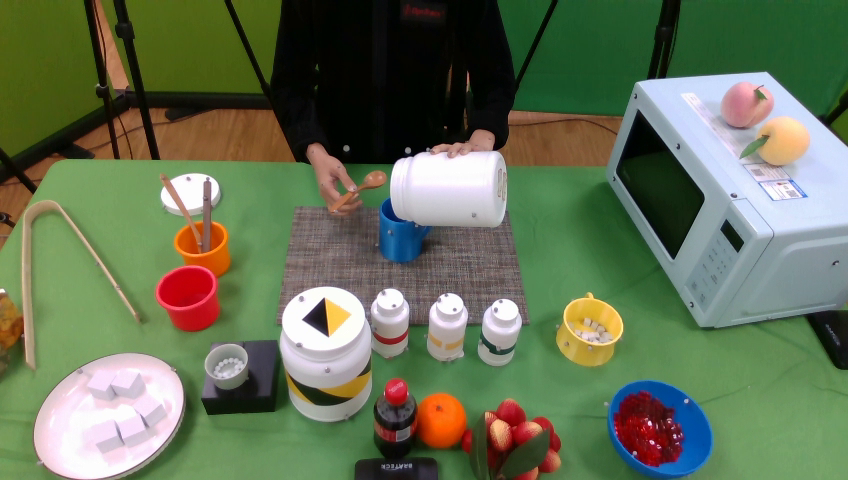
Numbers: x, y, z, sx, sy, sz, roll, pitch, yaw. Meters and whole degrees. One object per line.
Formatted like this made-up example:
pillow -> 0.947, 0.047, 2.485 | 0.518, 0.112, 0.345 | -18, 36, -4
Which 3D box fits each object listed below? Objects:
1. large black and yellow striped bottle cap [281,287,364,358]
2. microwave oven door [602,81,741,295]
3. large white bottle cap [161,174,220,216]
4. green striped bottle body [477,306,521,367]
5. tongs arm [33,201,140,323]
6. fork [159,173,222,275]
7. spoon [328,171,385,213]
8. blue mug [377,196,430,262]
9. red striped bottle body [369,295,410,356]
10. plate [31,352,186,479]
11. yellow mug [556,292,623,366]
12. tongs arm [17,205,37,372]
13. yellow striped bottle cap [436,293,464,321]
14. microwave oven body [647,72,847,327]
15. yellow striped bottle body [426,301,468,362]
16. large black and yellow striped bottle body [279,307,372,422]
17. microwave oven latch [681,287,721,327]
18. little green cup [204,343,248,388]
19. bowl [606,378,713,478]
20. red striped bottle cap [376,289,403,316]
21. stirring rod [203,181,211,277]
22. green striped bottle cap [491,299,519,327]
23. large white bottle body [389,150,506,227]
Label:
large black and yellow striped bottle cap -> -0.141, 0.112, 0.847 | 0.115, 0.019, 0.114 | 5, 45, -4
microwave oven door -> 0.456, -0.107, 1.162 | 0.039, 0.245, 0.353 | -7, 47, -11
large white bottle cap -> -0.483, -0.095, 1.253 | 0.115, 0.018, 0.114 | 2, 46, -2
green striped bottle body -> 0.124, 0.151, 0.995 | 0.063, 0.120, 0.063 | 2, 46, -2
tongs arm -> -0.623, 0.035, 1.105 | 0.051, 0.026, 0.382 | -33, 56, -25
fork -> -0.427, -0.029, 1.103 | 0.028, 0.018, 0.207 | -31, 99, -31
spoon -> -0.126, -0.091, 1.118 | 0.041, 0.022, 0.193 | 23, 29, 15
blue mug -> -0.033, -0.028, 1.159 | 0.116, 0.106, 0.082 | -22, 52, -23
red striped bottle body -> -0.059, 0.135, 0.997 | 0.063, 0.120, 0.062 | 6, 49, -6
plate -> -0.459, 0.262, 0.898 | 0.209, 0.038, 0.208 | 2, 45, -2
yellow mug -> 0.285, 0.145, 1.051 | 0.100, 0.064, 0.130 | 8, 45, 3
tongs arm -> -0.698, 0.072, 1.069 | 0.028, 0.028, 0.385 | -21, 51, -13
yellow striped bottle cap -> 0.041, 0.106, 0.959 | 0.044, 0.019, 0.044 | -1, 50, 1
microwave oven body -> 0.607, -0.089, 1.164 | 0.326, 0.261, 0.438 | -7, 46, -10
yellow striped bottle body -> 0.037, 0.142, 0.996 | 0.063, 0.121, 0.062 | 3, 46, -2
large black and yellow striped bottle body -> -0.145, 0.173, 0.907 | 0.131, 0.185, 0.130 | 2, 46, -2
microwave oven latch -> 0.494, 0.119, 1.087 | 0.030, 0.029, 0.078 | -6, 46, -9
little green cup -> -0.294, 0.190, 0.909 | 0.061, 0.039, 0.061 | 1, 48, 0
bowl -> 0.340, 0.292, 0.906 | 0.151, 0.077, 0.150 | 2, 46, -2
red striped bottle cap -> -0.054, 0.098, 0.958 | 0.044, 0.018, 0.044 | 0, 48, 1
stirring rod -> -0.396, -0.021, 1.107 | 0.014, 0.006, 0.176 | -1, 89, -1
green striped bottle cap -> 0.128, 0.115, 0.958 | 0.044, 0.020, 0.044 | 1, 47, -1
large white bottle body -> 0.042, -0.090, 1.055 | 0.184, 0.131, 0.130 | 2, 44, 18
